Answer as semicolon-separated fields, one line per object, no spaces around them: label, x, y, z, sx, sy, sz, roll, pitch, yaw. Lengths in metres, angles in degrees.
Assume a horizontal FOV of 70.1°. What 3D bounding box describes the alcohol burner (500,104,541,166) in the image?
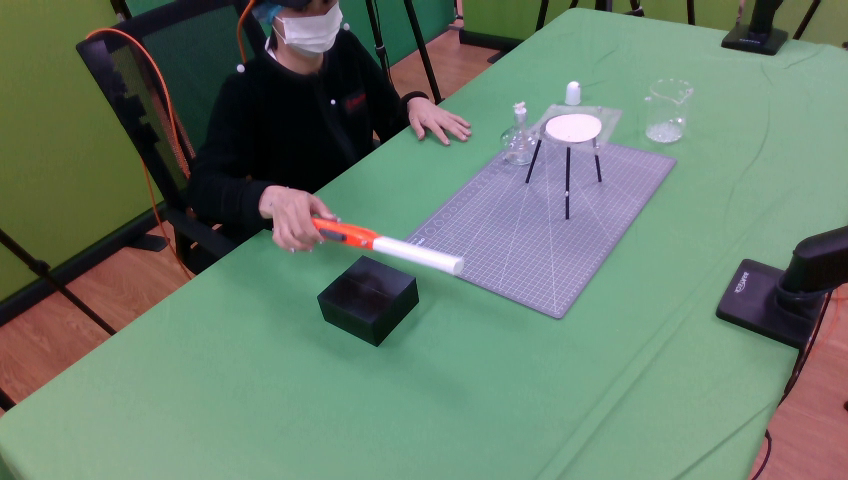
alcohol burner;0.178;-0.196;1.107;0.078;0.119;0.077;-5;42;5

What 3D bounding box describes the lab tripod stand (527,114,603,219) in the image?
lab tripod stand;0.234;-0.129;1.002;0.148;0.132;0.147;-6;40;6

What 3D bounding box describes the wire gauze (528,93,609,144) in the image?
wire gauze;0.225;-0.188;0.943;0.121;0.011;0.124;6;48;9

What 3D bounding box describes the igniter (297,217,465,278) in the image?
igniter;-0.071;0.006;0.832;0.274;0.025;0.057;15;17;29

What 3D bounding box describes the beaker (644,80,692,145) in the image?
beaker;0.451;-0.233;1.122;0.074;0.101;0.083;-8;40;1

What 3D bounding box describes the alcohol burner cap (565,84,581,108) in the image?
alcohol burner cap;0.315;-0.307;1.278;0.034;0.048;0.033;-5;42;5
